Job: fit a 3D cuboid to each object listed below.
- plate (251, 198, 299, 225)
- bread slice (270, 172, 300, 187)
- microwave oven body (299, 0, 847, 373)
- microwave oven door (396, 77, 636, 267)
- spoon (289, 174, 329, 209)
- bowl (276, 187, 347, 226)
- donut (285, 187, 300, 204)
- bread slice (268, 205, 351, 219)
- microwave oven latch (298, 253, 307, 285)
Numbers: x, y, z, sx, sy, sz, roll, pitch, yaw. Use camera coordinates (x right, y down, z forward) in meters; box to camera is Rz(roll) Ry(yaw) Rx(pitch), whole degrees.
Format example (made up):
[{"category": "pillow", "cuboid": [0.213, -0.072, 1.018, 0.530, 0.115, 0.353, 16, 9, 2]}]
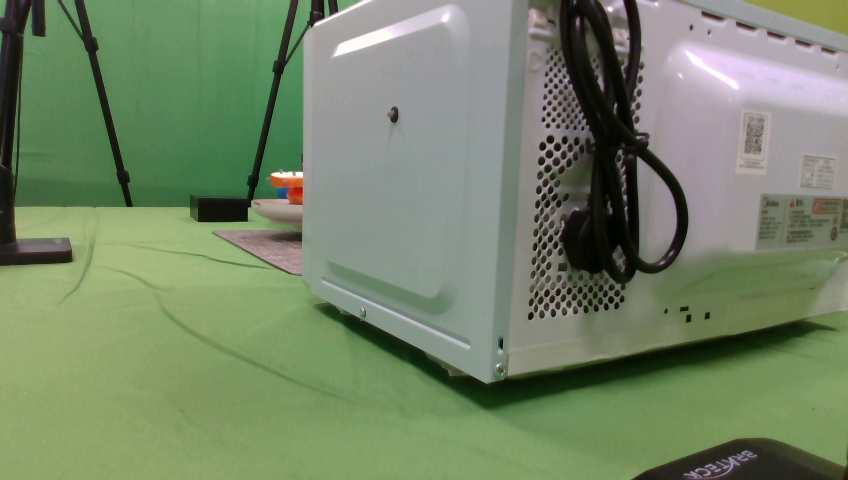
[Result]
[{"category": "plate", "cuboid": [-0.194, -0.049, 1.056, 0.208, 0.039, 0.207, 2, 6, 0]}, {"category": "bread slice", "cuboid": [-0.199, -0.106, 1.050, 0.132, 0.019, 0.104, -1, 12, -16]}, {"category": "microwave oven body", "cuboid": [0.151, -0.055, 0.543, 0.444, 0.260, 0.324, -1, 7, -33]}, {"category": "microwave oven door", "cuboid": [0.114, -0.103, 0.871, 0.354, 0.243, 0.039, 7, 8, 34]}, {"category": "spoon", "cuboid": [-0.261, -0.111, 1.343, 0.042, 0.021, 0.192, -7, 33, -31]}, {"category": "bowl", "cuboid": [-0.241, -0.073, 1.302, 0.151, 0.077, 0.151, 2, 7, 0]}, {"category": "donut", "cuboid": [-0.193, -0.081, 1.059, 0.099, 0.048, 0.099, 1, -2, 0]}, {"category": "bread slice", "cuboid": [-0.201, -0.049, 1.053, 0.135, 0.018, 0.106, 0, 5, -20]}, {"category": "microwave oven latch", "cuboid": [-0.081, 0.027, 0.583, 0.079, 0.029, 0.030, -2, 7, -33]}]
